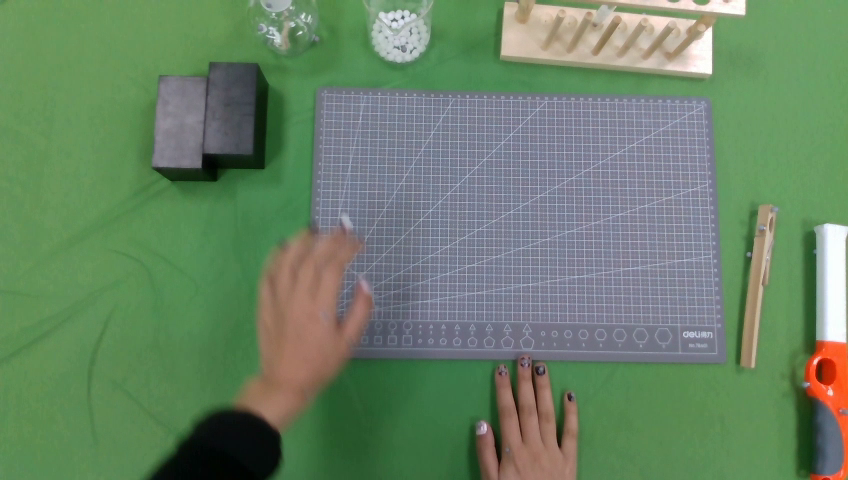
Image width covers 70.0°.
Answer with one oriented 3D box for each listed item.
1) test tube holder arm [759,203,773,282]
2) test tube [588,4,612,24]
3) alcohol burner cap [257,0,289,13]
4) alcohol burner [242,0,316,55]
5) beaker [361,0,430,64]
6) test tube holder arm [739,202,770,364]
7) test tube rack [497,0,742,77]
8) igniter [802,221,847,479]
[{"bbox_3d":[0.373,0.003,0.670,0.010,0.015,0.087,18,80,-33],"label":"test tube holder arm"},{"bbox_3d":[0.199,-0.261,0.618,0.017,0.150,0.017,1,82,-5],"label":"test tube"},{"bbox_3d":[-0.154,-0.253,0.602,0.034,0.048,0.033,1,74,-2],"label":"alcohol burner cap"},{"bbox_3d":[-0.155,-0.247,0.637,0.078,0.119,0.077,1,79,-3],"label":"alcohol burner"},{"bbox_3d":[-0.031,-0.239,0.649,0.074,0.100,0.083,4,81,-1],"label":"beaker"},{"bbox_3d":[0.360,0.045,0.660,0.013,0.015,0.178,16,81,-33],"label":"test tube holder arm"},{"bbox_3d":[0.208,-0.239,0.665,0.242,0.085,0.066,5,81,-1],"label":"test tube rack"},{"bbox_3d":[0.432,0.116,0.649,0.057,0.025,0.275,8,81,-11],"label":"igniter"}]
